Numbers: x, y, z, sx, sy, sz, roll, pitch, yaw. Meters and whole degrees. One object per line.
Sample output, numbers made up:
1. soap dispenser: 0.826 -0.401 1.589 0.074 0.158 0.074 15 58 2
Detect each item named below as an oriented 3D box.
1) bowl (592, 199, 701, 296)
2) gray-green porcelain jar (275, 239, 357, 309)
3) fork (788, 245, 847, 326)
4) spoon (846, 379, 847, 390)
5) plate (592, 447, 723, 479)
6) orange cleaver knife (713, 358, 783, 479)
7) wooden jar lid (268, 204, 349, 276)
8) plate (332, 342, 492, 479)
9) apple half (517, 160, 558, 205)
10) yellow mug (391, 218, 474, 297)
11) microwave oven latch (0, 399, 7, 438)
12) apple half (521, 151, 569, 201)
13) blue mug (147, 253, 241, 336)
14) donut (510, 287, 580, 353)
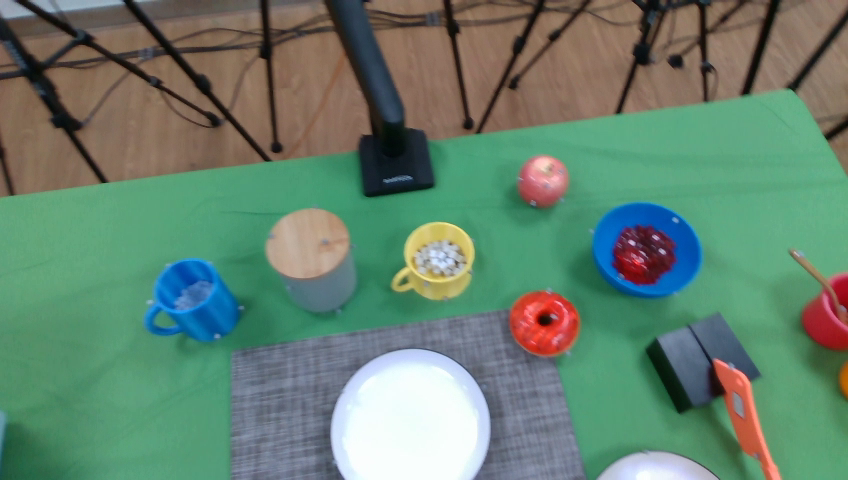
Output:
1. bowl: 0.316 0.023 0.890 0.151 0.077 0.150 0 62 1
2. gray-green porcelain jar: -0.152 0.033 0.861 0.106 0.127 0.105 0 61 1
3. fork: 0.549 0.067 0.824 0.209 0.018 0.028 39 60 -26
4. spoon: 0.646 0.157 0.775 0.022 0.194 0.041 15 48 -44
5. plate: 0.289 0.360 0.731 0.209 0.038 0.207 0 62 0
6. orange cleaver knife: 0.415 0.251 0.764 0.012 0.077 0.211 -19 86 -6
7. wooden jar lid: -0.153 0.002 0.807 0.108 0.021 0.107 0 60 1
8. plate: -0.015 0.239 0.795 0.208 0.039 0.206 0 62 0
9. apple half: 0.169 -0.081 0.949 0.033 0.082 0.080 -37 67 -23
10. yellow mug: 0.009 0.034 0.894 0.131 0.064 0.099 -29 66 -14
11. microwave oven latch: -0.562 0.244 0.778 0.030 0.030 0.078 -5 62 -3
12. apple half: 0.198 -0.104 0.963 0.053 0.075 0.080 -36 63 -23
13. blue mug: -0.326 0.086 0.845 0.116 0.107 0.081 -32 65 -15
14. donut: 0.170 0.113 0.858 0.099 0.048 0.098 0 63 0
